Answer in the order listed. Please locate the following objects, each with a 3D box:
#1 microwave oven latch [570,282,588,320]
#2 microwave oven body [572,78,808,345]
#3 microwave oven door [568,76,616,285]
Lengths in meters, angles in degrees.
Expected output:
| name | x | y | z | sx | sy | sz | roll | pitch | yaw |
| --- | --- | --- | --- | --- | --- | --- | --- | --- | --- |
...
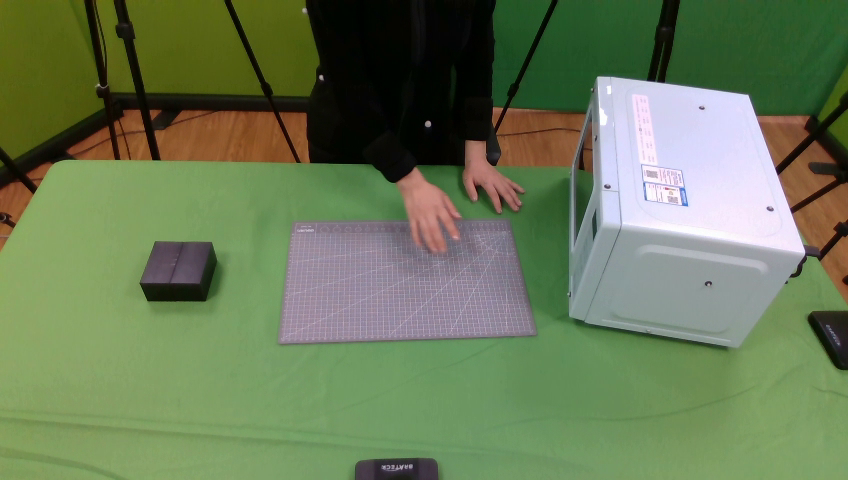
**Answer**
| name | x | y | z | sx | sy | sz | roll | pitch | yaw |
| --- | --- | --- | --- | --- | --- | --- | --- | --- | --- |
| microwave oven latch | 0.276 | 0.105 | 1.082 | 0.030 | 0.029 | 0.079 | 10 | 45 | 6 |
| microwave oven body | 0.456 | -0.063 | 1.124 | 0.326 | 0.261 | 0.439 | 8 | 45 | 5 |
| microwave oven door | 0.319 | -0.119 | 1.161 | 0.039 | 0.245 | 0.354 | 9 | 46 | 5 |
